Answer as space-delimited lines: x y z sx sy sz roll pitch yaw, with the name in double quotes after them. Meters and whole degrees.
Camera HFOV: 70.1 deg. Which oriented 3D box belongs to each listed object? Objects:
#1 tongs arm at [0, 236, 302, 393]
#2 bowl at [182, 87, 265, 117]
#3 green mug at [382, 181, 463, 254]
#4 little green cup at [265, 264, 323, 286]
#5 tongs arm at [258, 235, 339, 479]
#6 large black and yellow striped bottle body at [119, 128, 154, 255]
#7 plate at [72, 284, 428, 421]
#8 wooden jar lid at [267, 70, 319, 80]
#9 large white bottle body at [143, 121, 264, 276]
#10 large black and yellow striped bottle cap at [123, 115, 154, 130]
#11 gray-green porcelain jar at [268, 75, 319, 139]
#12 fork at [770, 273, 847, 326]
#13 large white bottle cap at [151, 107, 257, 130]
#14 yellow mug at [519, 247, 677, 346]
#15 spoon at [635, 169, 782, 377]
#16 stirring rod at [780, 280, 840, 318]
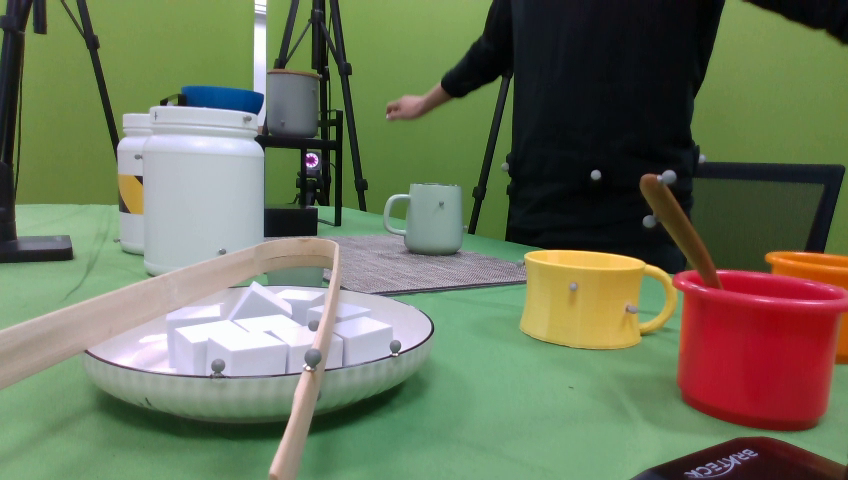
-0.157 0.038 0.347 0.028 0.028 0.388 -3 8 11 "tongs arm"
-0.383 -0.244 1.158 0.151 0.077 0.151 2 7 0 "bowl"
-0.001 -0.036 0.922 0.126 0.105 0.092 0 8 -16 "green mug"
-0.134 0.033 0.628 0.061 0.038 0.061 3 7 0 "little green cup"
-0.074 0.040 0.345 0.051 0.026 0.384 -1 10 -3 "tongs arm"
-0.355 -0.076 0.850 0.131 0.184 0.130 2 8 0 "large black and yellow striped bottle body"
-0.102 0.067 0.381 0.208 0.039 0.207 3 7 0 "plate"
-0.275 -0.340 1.271 0.108 0.020 0.108 5 6 0 "wooden jar lid"
-0.254 -0.054 0.702 0.131 0.184 0.130 2 8 0 "large white bottle body"
-0.353 -0.159 0.838 0.115 0.019 0.115 2 6 0 "large black and yellow striped bottle cap"
-0.277 -0.279 1.280 0.106 0.126 0.106 2 8 0 "gray-green porcelain jar"
0.332 0.018 0.443 0.028 0.018 0.207 -3 -35 -18 "fork"
-0.250 -0.138 0.692 0.115 0.018 0.115 3 7 0 "large white bottle cap"
0.148 0.045 0.513 0.131 0.064 0.100 3 7 0 "yellow mug"
0.161 0.026 0.346 0.021 0.194 0.041 -51 32 -19 "spoon"
0.343 0.019 0.460 0.014 0.006 0.176 -11 -28 -28 "stirring rod"
